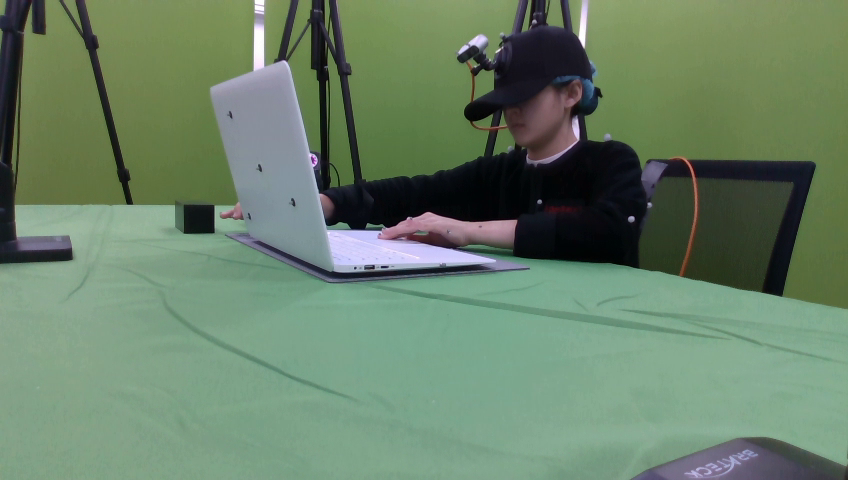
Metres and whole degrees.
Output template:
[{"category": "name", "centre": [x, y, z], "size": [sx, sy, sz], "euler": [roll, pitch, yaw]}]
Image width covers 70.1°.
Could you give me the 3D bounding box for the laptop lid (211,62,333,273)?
[{"category": "laptop lid", "centre": [-0.212, -0.095, 0.792], "size": [0.013, 0.241, 0.355], "euler": [-18, 18, -28]}]

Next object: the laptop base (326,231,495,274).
[{"category": "laptop base", "centre": [-0.092, 0.016, 0.884], "size": [0.237, 0.023, 0.352], "euler": [3, 6, -32]}]

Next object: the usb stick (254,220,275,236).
[{"category": "usb stick", "centre": [-0.263, -0.020, 1.006], "size": [0.021, 0.027, 0.059], "euler": [-4, 7, -33]}]
